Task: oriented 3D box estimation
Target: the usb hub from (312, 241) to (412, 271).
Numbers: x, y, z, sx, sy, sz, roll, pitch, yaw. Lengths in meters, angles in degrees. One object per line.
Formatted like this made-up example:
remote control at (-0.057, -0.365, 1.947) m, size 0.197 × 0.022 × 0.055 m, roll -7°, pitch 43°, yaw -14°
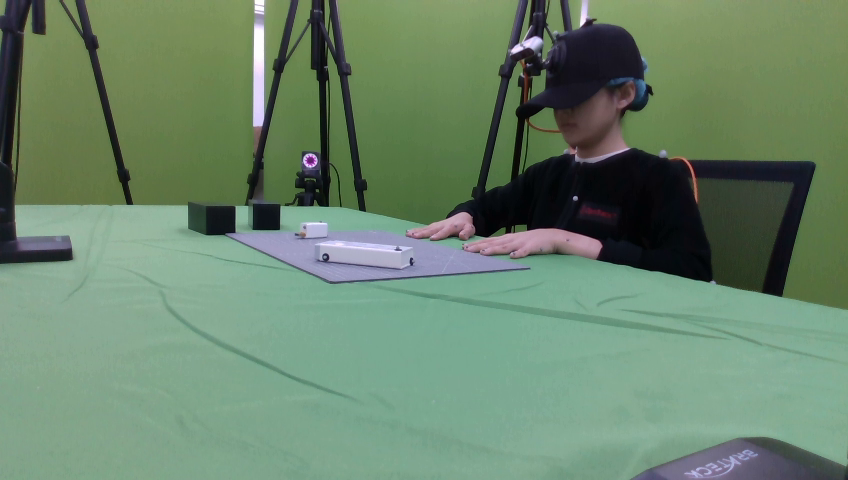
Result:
usb hub at (-0.082, 0.020, 0.804) m, size 0.125 × 0.025 × 0.049 m, roll 5°, pitch 8°, yaw 17°

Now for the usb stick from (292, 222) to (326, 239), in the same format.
usb stick at (-0.198, -0.016, 1.036) m, size 0.021 × 0.027 × 0.059 m, roll 14°, pitch 16°, yaw 41°
